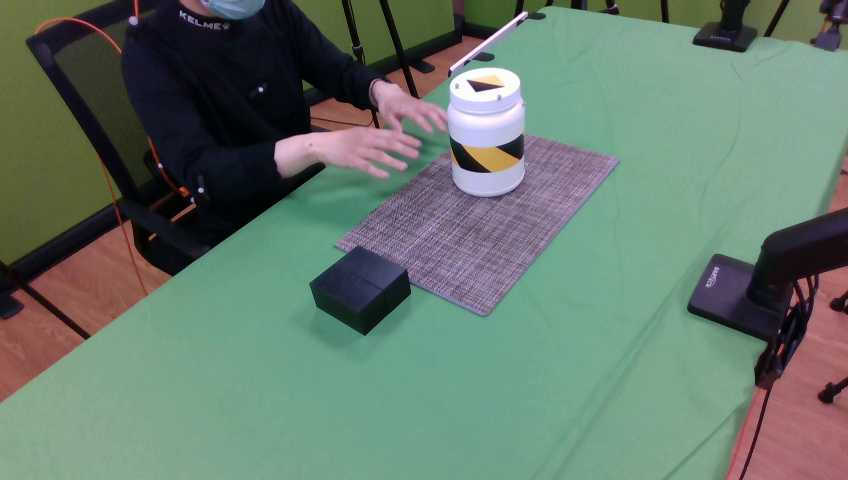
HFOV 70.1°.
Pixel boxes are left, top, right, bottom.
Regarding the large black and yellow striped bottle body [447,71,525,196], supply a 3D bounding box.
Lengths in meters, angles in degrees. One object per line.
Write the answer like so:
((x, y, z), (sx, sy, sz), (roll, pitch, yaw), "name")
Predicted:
((0.108, -0.182, 1.034), (0.131, 0.185, 0.130), (-4, 40, 4), "large black and yellow striped bottle body")

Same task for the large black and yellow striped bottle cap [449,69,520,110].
((0.098, -0.246, 0.980), (0.115, 0.019, 0.114), (-3, 40, 3), "large black and yellow striped bottle cap")
